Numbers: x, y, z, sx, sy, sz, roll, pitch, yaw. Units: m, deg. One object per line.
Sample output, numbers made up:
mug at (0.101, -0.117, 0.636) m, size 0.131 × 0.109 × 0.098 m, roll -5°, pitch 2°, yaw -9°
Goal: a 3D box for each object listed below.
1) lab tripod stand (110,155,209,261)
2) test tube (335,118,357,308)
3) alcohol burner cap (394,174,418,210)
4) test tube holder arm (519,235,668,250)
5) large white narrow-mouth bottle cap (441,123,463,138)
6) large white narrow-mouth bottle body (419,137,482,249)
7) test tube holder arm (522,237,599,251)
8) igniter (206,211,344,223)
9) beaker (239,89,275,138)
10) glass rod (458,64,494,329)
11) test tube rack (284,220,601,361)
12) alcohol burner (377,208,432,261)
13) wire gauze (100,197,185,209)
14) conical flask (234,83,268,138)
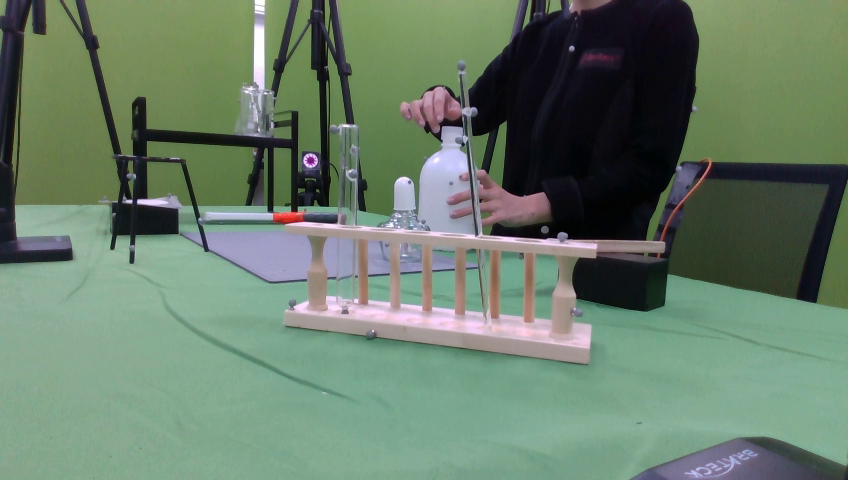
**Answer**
lab tripod stand at (-0.361, -0.046, 0.806) m, size 0.148 × 0.131 × 0.148 m, roll 2°, pitch 5°, yaw 0°
test tube at (-0.061, -0.019, 0.476) m, size 0.017 × 0.150 × 0.017 m, roll 2°, pitch 11°, yaw 0°
alcohol burner cap at (-0.026, -0.067, 0.833) m, size 0.034 × 0.048 × 0.034 m, roll -1°, pitch 12°, yaw 1°
test tube holder arm at (0.186, 0.003, 0.654) m, size 0.179 × 0.015 × 0.013 m, roll 1°, pitch 12°, yaw -17°
large white narrow-mouth bottle cap at (0.046, -0.177, 0.983) m, size 0.038 × 0.024 × 0.037 m, roll 2°, pitch 8°, yaw 0°
large white narrow-mouth bottle body at (0.044, -0.086, 0.995) m, size 0.102 × 0.194 × 0.102 m, roll 2°, pitch 8°, yaw 0°
test tube holder arm at (0.144, 0.004, 0.635) m, size 0.088 × 0.015 × 0.010 m, roll 0°, pitch 12°, yaw -19°
igniter at (-0.302, -0.048, 1.249) m, size 0.278 × 0.025 × 0.057 m, roll -2°, pitch -2°, yaw -27°
beaker at (-0.361, -0.273, 1.307) m, size 0.074 × 0.100 × 0.084 m, roll 0°, pitch 8°, yaw -11°
glass rod at (0.040, -0.029, 0.450) m, size 0.008 × 0.199 × 0.008 m, roll -7°, pitch 9°, yaw 1°
test tube rack at (0.013, 0.032, 0.482) m, size 0.242 × 0.085 × 0.067 m, roll 4°, pitch 7°, yaw 16°
alcohol burner at (-0.027, -0.031, 0.838) m, size 0.078 × 0.119 × 0.078 m, roll 0°, pitch 6°, yaw 0°
wire gauze at (-0.469, -0.062, 1.008) m, size 0.126 × 0.011 × 0.121 m, roll -2°, pitch 8°, yaw -25°
conical flask at (-0.399, -0.298, 1.396) m, size 0.075 × 0.122 × 0.075 m, roll 2°, pitch 8°, yaw 0°
